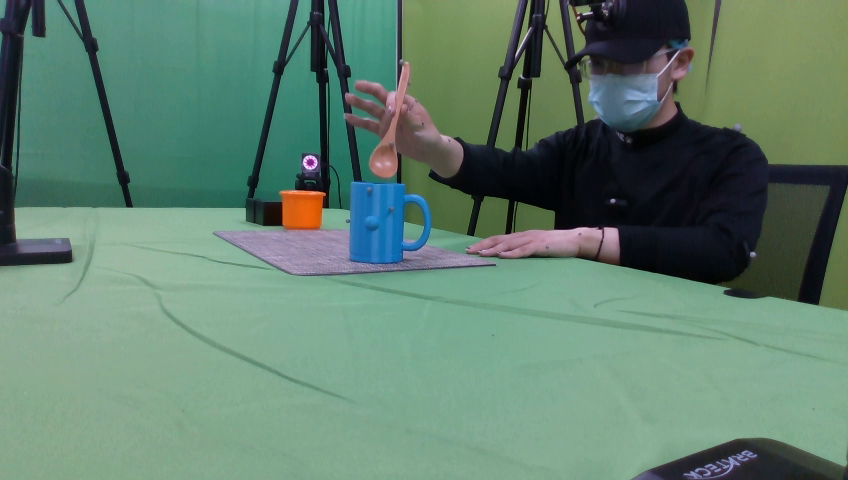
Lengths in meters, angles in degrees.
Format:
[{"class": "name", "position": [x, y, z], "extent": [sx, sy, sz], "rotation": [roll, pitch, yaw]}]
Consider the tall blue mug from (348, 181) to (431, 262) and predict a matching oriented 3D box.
[{"class": "tall blue mug", "position": [-0.052, -0.028, 0.849], "extent": [0.108, 0.108, 0.077], "rotation": [-1, 7, -22]}]

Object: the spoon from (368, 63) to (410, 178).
[{"class": "spoon", "position": [-0.043, -0.176, 0.875], "extent": [0.042, 0.193, 0.021], "rotation": [16, -16, -10]}]
